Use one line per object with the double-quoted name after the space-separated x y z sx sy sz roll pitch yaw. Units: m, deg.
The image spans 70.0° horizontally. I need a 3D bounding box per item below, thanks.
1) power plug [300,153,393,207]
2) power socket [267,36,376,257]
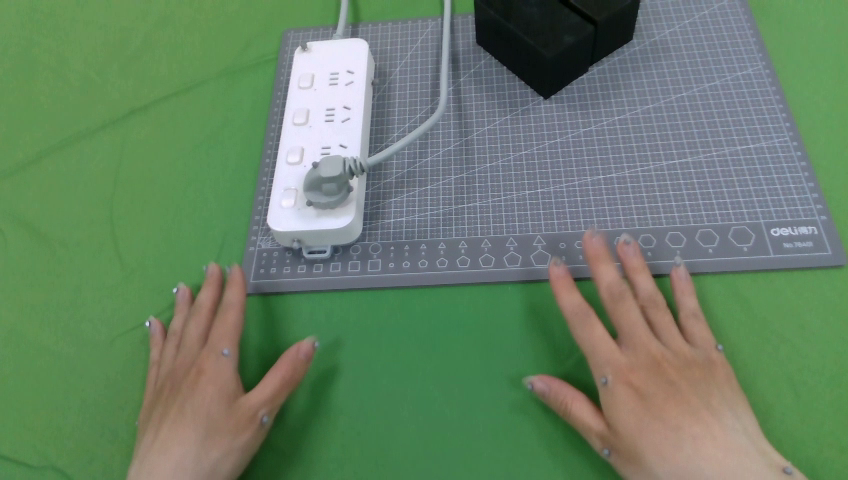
-0.059 -0.040 0.461 0.072 0.053 0.035 8 61 11 "power plug"
-0.084 -0.091 0.521 0.072 0.033 0.224 -2 60 6 "power socket"
